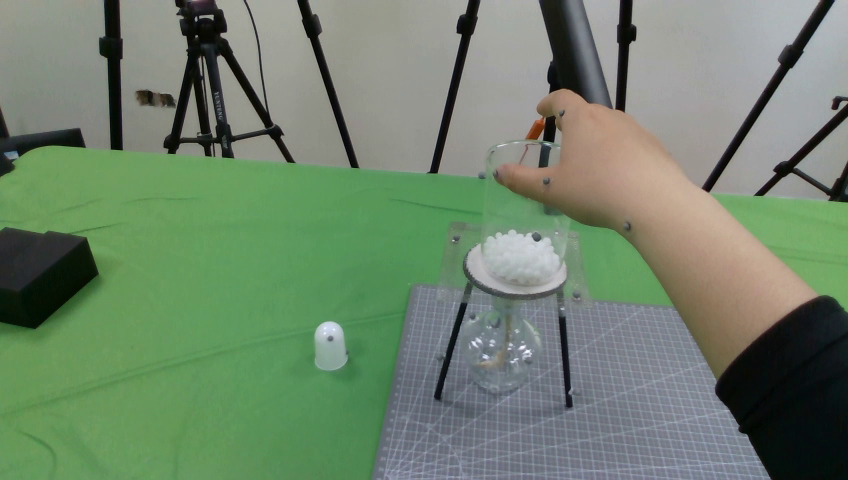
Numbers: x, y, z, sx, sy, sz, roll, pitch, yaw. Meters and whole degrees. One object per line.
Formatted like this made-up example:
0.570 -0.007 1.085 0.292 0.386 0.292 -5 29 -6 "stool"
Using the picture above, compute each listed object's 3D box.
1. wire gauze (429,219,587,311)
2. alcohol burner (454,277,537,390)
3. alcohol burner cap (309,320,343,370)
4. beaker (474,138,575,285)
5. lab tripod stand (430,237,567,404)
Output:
0.071 0.019 0.514 0.121 0.011 0.124 3 35 6 "wire gauze"
0.068 0.081 0.559 0.078 0.120 0.077 3 36 -2 "alcohol burner"
-0.096 0.099 0.589 0.034 0.048 0.033 2 35 -1 "alcohol burner cap"
0.077 -0.020 0.485 0.074 0.101 0.083 4 34 6 "beaker"
0.070 0.072 0.554 0.148 0.132 0.147 1 33 0 "lab tripod stand"
